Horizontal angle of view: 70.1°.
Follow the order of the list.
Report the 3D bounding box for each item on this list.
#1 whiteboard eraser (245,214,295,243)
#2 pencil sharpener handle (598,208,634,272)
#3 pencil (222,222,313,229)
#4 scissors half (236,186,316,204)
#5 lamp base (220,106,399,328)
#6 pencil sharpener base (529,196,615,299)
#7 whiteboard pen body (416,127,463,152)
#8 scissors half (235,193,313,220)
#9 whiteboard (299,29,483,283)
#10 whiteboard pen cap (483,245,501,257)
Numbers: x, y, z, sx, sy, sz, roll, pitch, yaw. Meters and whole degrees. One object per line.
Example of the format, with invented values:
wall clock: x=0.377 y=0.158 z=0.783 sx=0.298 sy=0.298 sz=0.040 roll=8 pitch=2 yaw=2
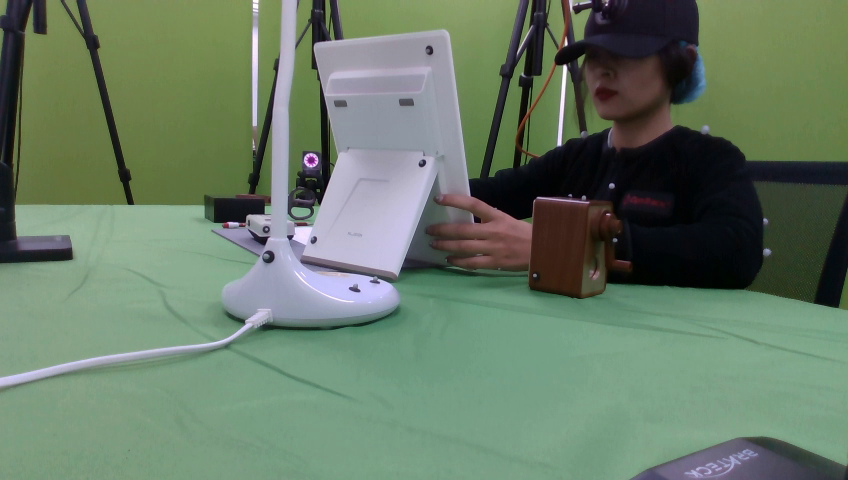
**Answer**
whiteboard eraser: x=-0.247 y=-0.018 z=0.965 sx=0.056 sy=0.042 sz=0.112 roll=0 pitch=8 yaw=-28
pencil sharpener handle: x=0.208 y=0.000 z=0.644 sx=0.030 sy=0.068 sz=0.036 roll=10 pitch=23 yaw=42
pencil: x=-0.302 y=-0.030 z=1.189 sx=0.195 sy=0.012 sz=0.012 roll=-2 pitch=9 yaw=-42
scissors half: x=-0.320 y=-0.097 z=1.316 sx=0.176 sy=0.040 sz=0.013 roll=-3 pitch=11 yaw=-29
lamp base: x=-0.101 y=-0.023 z=0.531 sx=0.160 sy=0.180 sz=0.179 roll=4 pitch=10 yaw=10
pencil sharpener base: x=0.168 y=0.007 z=0.678 sx=0.076 sy=0.107 sz=0.062 roll=10 pitch=10 yaw=42
whiteboard pen body: x=0.021 y=-0.137 z=0.816 sx=0.017 sy=0.017 sz=0.141 roll=6 pitch=1 yaw=25
scissors half: x=-0.324 y=-0.077 z=1.319 sx=0.176 sy=0.040 sz=0.012 roll=17 pitch=6 yaw=-31
whiteboard: x=-0.074 y=-0.082 z=0.742 sx=0.216 sy=0.305 sz=0.144 roll=9 pitch=29 yaw=37
whiteboard pen cap: x=0.104 y=0.017 z=0.936 sx=0.018 sy=0.018 sz=0.033 roll=-1 pitch=4 yaw=-22
